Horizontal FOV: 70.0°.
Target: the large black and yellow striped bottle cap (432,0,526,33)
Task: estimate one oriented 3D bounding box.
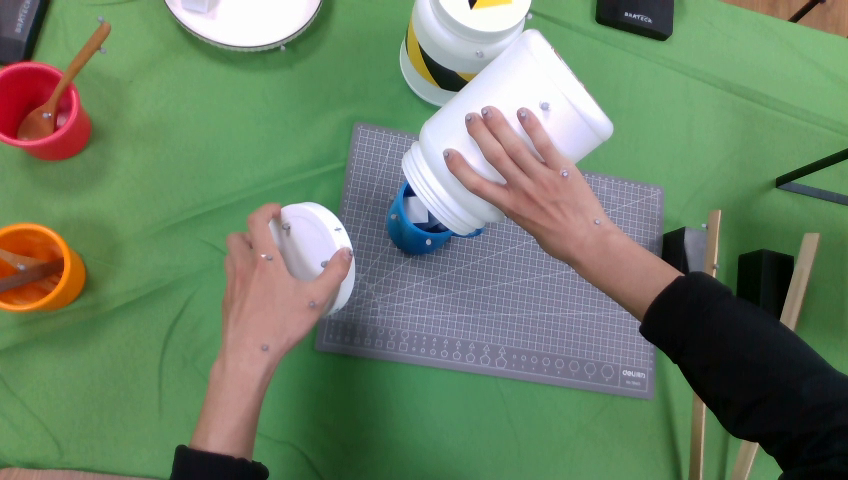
[{"bbox_3d":[0.060,-0.286,0.670,0.115,0.019,0.114,2,80,-13],"label":"large black and yellow striped bottle cap"}]

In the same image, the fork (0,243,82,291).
[{"bbox_3d":[-0.447,0.000,0.611,0.209,0.018,0.028,43,66,-47],"label":"fork"}]

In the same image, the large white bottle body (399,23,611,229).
[{"bbox_3d":[0.076,-0.108,0.611,0.185,0.130,0.130,-39,88,21],"label":"large white bottle body"}]

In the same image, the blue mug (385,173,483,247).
[{"bbox_3d":[0.015,-0.036,0.738,0.117,0.106,0.082,18,76,-8],"label":"blue mug"}]

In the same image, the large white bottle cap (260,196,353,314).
[{"bbox_3d":[-0.117,0.015,0.590,0.018,0.114,0.114,-12,79,-54],"label":"large white bottle cap"}]

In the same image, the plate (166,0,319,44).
[{"bbox_3d":[-0.234,-0.345,0.780,0.208,0.039,0.206,2,79,-12],"label":"plate"}]

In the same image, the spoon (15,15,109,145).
[{"bbox_3d":[-0.394,-0.171,0.658,0.194,0.021,0.041,-38,84,27],"label":"spoon"}]

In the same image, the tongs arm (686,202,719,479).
[{"bbox_3d":[0.372,0.145,0.784,0.051,0.026,0.384,6,90,-13],"label":"tongs arm"}]

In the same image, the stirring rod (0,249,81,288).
[{"bbox_3d":[-0.431,0.041,0.613,0.014,0.006,0.176,57,32,-1],"label":"stirring rod"}]

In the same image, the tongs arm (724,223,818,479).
[{"bbox_3d":[0.451,0.160,0.800,0.028,0.027,0.387,20,88,-16],"label":"tongs arm"}]

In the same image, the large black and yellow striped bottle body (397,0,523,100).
[{"bbox_3d":[0.044,-0.268,0.750,0.131,0.184,0.130,2,78,-11],"label":"large black and yellow striped bottle body"}]
